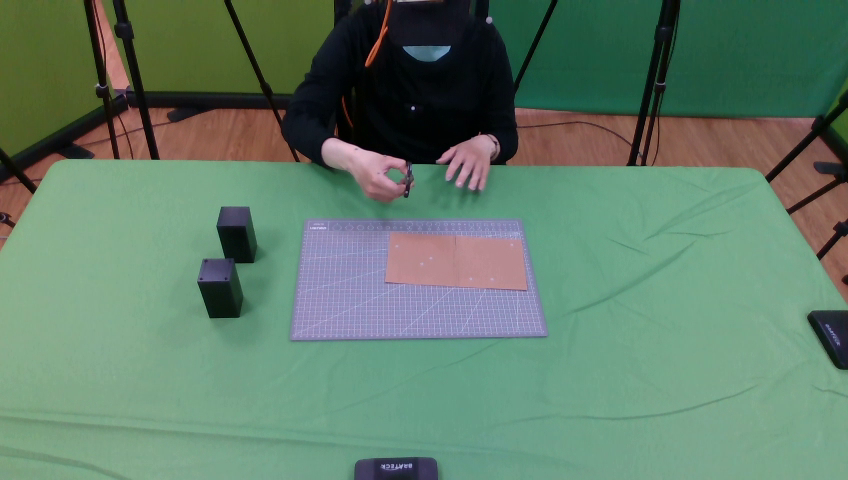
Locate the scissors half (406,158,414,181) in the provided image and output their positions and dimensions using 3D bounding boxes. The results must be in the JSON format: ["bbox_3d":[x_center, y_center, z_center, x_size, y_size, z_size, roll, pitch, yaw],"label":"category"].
[{"bbox_3d":[-0.025,-0.129,1.138,0.013,0.040,0.174,5,13,-4],"label":"scissors half"}]

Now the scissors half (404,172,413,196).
[{"bbox_3d":[-0.028,-0.109,1.139,0.013,0.175,0.040,10,85,-4],"label":"scissors half"}]

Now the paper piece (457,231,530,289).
[{"bbox_3d":[0.132,0.038,1.171,0.138,0.009,0.135,4,50,-1],"label":"paper piece"}]

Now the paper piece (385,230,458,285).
[{"bbox_3d":[-0.002,0.031,1.169,0.136,0.004,0.134,3,48,0],"label":"paper piece"}]
